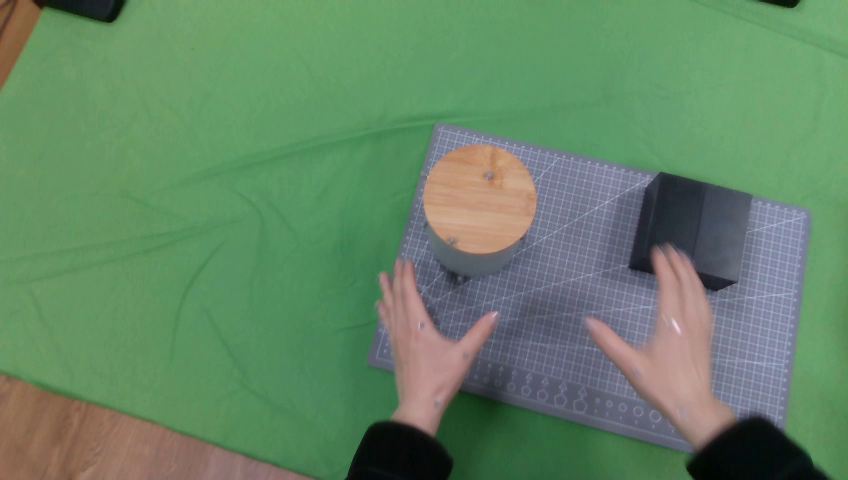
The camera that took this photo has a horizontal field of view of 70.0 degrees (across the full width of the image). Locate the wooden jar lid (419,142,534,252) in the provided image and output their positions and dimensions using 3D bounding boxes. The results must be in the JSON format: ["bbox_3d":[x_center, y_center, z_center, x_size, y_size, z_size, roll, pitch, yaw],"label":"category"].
[{"bbox_3d":[0.049,-0.040,0.577,0.108,0.021,0.108,0,79,0],"label":"wooden jar lid"}]

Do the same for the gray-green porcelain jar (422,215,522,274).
[{"bbox_3d":[0.051,-0.023,0.637,0.106,0.127,0.105,0,75,0],"label":"gray-green porcelain jar"}]
